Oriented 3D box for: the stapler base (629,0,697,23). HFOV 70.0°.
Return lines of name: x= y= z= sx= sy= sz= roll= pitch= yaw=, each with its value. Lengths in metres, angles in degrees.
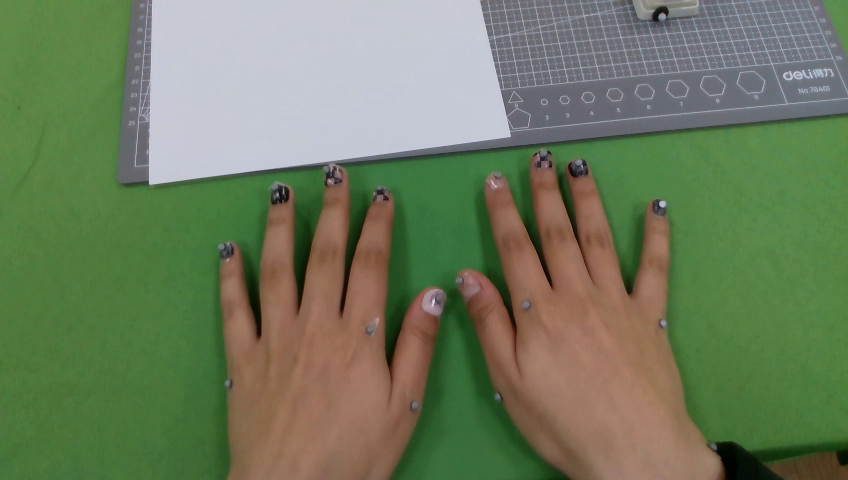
stapler base: x=0.149 y=-0.205 z=0.406 sx=0.041 sy=0.024 sz=0.129 roll=-8 pitch=70 yaw=-1
